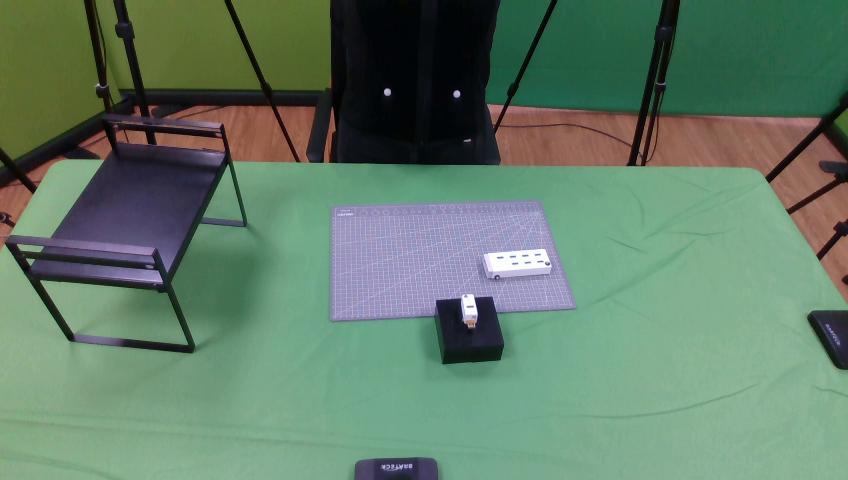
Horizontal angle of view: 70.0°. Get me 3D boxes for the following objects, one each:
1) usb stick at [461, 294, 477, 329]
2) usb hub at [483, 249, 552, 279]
[{"bbox_3d":[0.076,0.121,1.013,0.021,0.027,0.059,-1,49,-7],"label":"usb stick"},{"bbox_3d":[0.178,0.046,1.159,0.125,0.025,0.049,-5,47,-7],"label":"usb hub"}]
